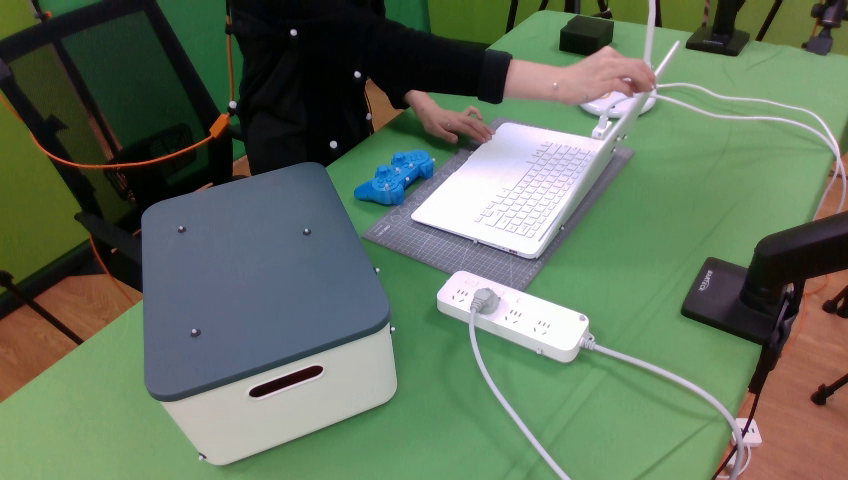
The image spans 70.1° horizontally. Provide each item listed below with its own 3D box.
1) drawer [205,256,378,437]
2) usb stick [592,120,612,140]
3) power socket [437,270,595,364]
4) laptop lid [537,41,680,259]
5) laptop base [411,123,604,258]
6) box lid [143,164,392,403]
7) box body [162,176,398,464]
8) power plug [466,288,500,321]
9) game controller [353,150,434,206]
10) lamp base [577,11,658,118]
[{"bbox_3d":[-0.177,0.129,0.787,0.195,0.073,0.210,-13,39,-10],"label":"drawer"},{"bbox_3d":[0.335,-0.203,1.148,0.021,0.027,0.059,26,52,27],"label":"usb stick"},{"bbox_3d":[0.119,0.102,0.830,0.225,0.033,0.072,20,48,28],"label":"power socket"},{"bbox_3d":[0.287,-0.141,0.930,0.013,0.242,0.357,33,50,13],"label":"laptop lid"},{"bbox_3d":[0.167,-0.102,1.074,0.234,0.023,0.355,16,45,30],"label":"laptop base"},{"bbox_3d":[-0.212,0.025,0.753,0.264,0.015,0.368,-18,40,-13],"label":"box lid"},{"bbox_3d":[-0.205,0.080,0.802,0.255,0.161,0.361,-18,41,-13],"label":"box body"},{"bbox_3d":[0.072,0.093,0.813,0.073,0.053,0.035,-37,48,-28],"label":"power plug"},{"bbox_3d":[-0.051,-0.121,1.105,0.096,0.052,0.155,23,49,28],"label":"game controller"},{"bbox_3d":[0.406,-0.363,1.223,0.180,0.181,0.159,-20,42,-18],"label":"lamp base"}]
